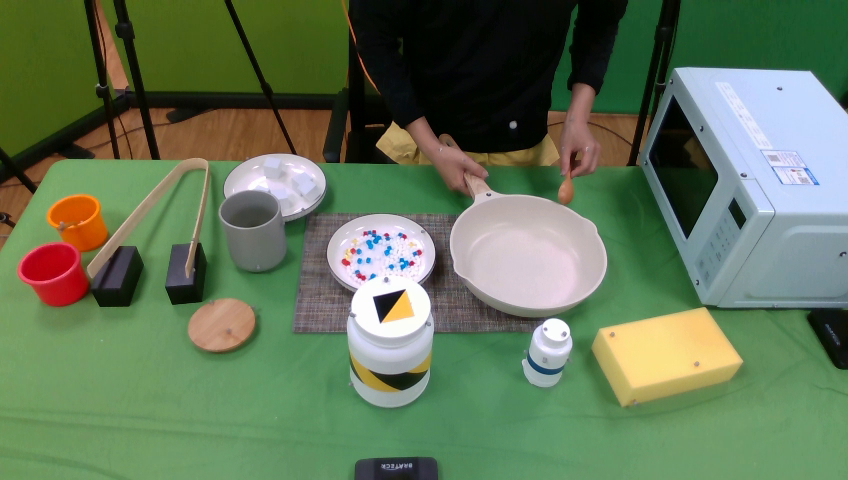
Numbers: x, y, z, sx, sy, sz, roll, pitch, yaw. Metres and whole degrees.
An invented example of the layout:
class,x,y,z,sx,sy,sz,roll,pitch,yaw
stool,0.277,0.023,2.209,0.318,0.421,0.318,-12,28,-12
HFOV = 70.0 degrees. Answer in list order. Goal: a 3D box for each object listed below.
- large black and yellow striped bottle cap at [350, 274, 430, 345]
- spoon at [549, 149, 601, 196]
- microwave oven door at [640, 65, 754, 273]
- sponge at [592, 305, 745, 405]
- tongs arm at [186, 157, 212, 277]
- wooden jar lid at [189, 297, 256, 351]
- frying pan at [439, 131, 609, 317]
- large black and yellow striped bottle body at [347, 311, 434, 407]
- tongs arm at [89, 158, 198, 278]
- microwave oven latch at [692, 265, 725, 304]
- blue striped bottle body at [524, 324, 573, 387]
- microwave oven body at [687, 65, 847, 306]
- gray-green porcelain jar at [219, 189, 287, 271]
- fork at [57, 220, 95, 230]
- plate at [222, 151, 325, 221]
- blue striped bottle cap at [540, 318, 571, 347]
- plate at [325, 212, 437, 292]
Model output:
class,x,y,z,sx,sy,sz,roll,pitch,yaw
large black and yellow striped bottle cap,-0.048,0.097,0.868,0.115,0.019,0.114,3,48,-3
spoon,0.313,-0.144,1.248,0.194,0.042,0.021,-32,43,-31
microwave oven door,0.523,-0.147,1.193,0.039,0.245,0.353,0,47,-3
sponge,0.405,0.190,1.014,0.207,0.061,0.117,-10,48,-13
tongs arm,-0.445,-0.058,1.169,0.051,0.026,0.382,-5,37,-6
wooden jar lid,-0.342,0.145,1.033,0.108,0.021,0.107,2,45,-2
frying pan,0.149,-0.049,1.189,0.307,0.103,0.484,-17,58,-20
large black and yellow striped bottle body,-0.052,0.157,0.929,0.131,0.185,0.130,2,47,-2
tongs arm,-0.529,-0.057,1.164,0.028,0.028,0.385,1,36,8
microwave oven latch,0.522,0.081,1.116,0.030,0.029,0.078,1,46,-2
blue striped bottle body,0.200,0.178,0.970,0.063,0.121,0.062,2,46,-2
microwave oven body,0.669,-0.111,1.176,0.326,0.261,0.439,0,46,-3
gray-green porcelain jar,-0.310,-0.014,1.113,0.106,0.127,0.105,2,46,-2
fork,-0.624,-0.027,1.086,0.028,0.207,0.018,-3,92,-17
plate,-0.310,-0.106,1.263,0.208,0.039,0.206,2,47,-2
blue striped bottle cap,0.203,0.142,0.933,0.044,0.021,0.044,3,49,-3
plate,-0.080,0.030,1.143,0.209,0.038,0.208,3,46,-2
